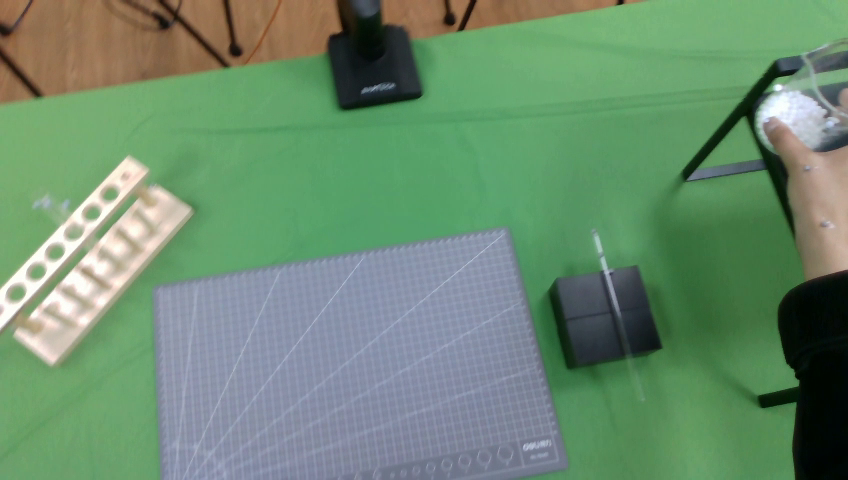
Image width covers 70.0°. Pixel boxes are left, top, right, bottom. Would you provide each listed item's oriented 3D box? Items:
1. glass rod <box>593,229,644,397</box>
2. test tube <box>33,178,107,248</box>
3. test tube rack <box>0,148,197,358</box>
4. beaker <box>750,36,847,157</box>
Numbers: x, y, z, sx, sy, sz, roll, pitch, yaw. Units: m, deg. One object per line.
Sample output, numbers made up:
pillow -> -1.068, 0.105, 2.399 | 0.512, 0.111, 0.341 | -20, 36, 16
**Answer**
glass rod -> 0.221, 0.079, 0.692 | 0.008, 0.008, 0.198 | -9, 71, -4
test tube -> -0.390, -0.026, 0.677 | 0.017, 0.151, 0.017 | 2, 66, -3
test tube rack -> -0.389, 0.015, 0.715 | 0.066, 0.085, 0.242 | 34, 73, 11
beaker -> 0.347, -0.124, 0.542 | 0.084, 0.100, 0.074 | 32, 78, 7
